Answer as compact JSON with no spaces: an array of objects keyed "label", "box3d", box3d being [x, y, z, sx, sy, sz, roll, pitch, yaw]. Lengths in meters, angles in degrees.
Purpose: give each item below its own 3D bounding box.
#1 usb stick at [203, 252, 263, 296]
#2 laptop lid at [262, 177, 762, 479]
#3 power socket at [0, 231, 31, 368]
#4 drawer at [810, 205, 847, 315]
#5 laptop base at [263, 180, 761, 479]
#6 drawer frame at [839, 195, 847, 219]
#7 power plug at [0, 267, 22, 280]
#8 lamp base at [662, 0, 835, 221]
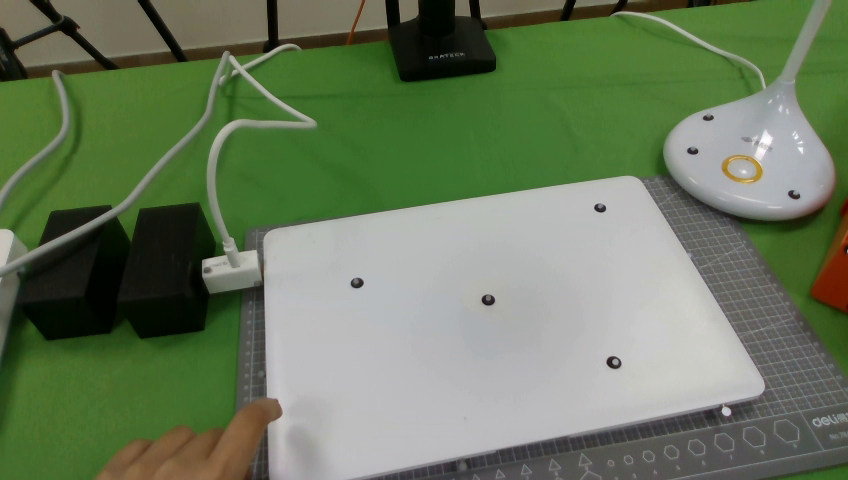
[{"label":"usb stick","box3d":[-0.152,0.027,0.507,0.059,0.027,0.021,-9,47,-12]},{"label":"laptop lid","box3d":[0.051,0.052,0.481,0.357,0.013,0.239,-8,50,-6]},{"label":"power socket","box3d":[-0.369,0.078,0.473,0.072,0.033,0.224,-9,47,-9]},{"label":"drawer","box3d":[0.453,0.007,0.490,0.193,0.074,0.211,28,54,26]},{"label":"laptop base","box3d":[0.051,0.059,0.491,0.355,0.023,0.233,-9,51,-7]},{"label":"drawer frame","box3d":[0.521,-0.060,0.546,0.200,0.083,0.213,29,54,26]},{"label":"power plug","box3d":[-0.343,0.050,0.467,0.072,0.053,0.035,-2,47,-1]},{"label":"lamp base","box3d":[0.324,-0.138,0.555,0.159,0.182,0.178,21,48,20]}]
